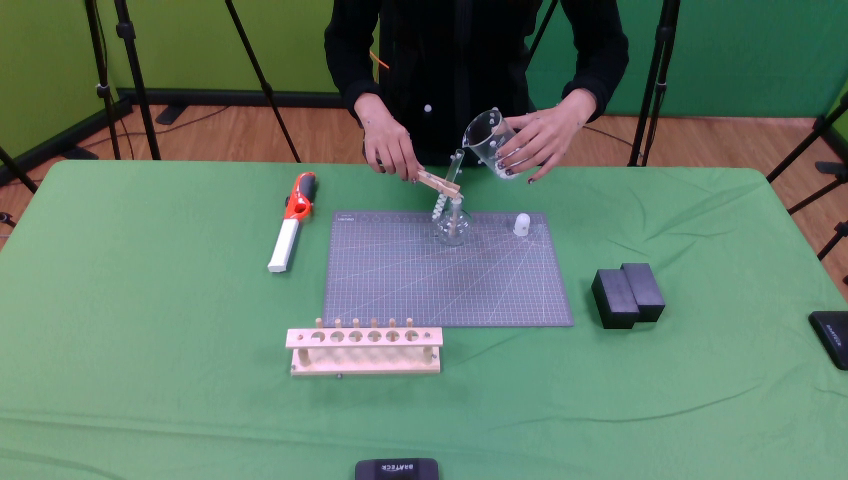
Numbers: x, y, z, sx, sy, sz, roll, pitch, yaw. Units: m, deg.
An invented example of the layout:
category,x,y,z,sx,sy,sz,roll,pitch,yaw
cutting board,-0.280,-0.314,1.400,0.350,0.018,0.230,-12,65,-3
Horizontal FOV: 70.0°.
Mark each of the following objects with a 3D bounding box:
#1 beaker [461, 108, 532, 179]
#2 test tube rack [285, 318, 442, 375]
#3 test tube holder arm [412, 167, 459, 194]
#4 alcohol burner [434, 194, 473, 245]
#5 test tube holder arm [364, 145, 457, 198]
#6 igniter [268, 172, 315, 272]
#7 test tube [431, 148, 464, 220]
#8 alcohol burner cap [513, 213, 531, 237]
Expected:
category,x,y,z,sx,sy,sz,roll,pitch,yaw
beaker,0.121,-0.152,0.988,0.084,0.101,0.073,-34,37,24
test tube rack,-0.095,0.168,0.986,0.242,0.085,0.066,0,46,-4
test tube holder arm,0.018,-0.103,1.042,0.088,0.015,0.010,23,37,1
alcohol burner,0.059,-0.046,1.180,0.078,0.120,0.077,1,48,-1
test tube holder arm,-0.024,-0.119,1.041,0.178,0.015,0.013,27,37,6
igniter,-0.264,-0.045,1.219,0.057,0.025,0.275,-2,45,8
test tube,0.039,-0.093,1.035,0.017,0.151,0.017,12,41,-10
alcohol burner cap,0.200,-0.034,1.227,0.034,0.048,0.033,1,45,-1
